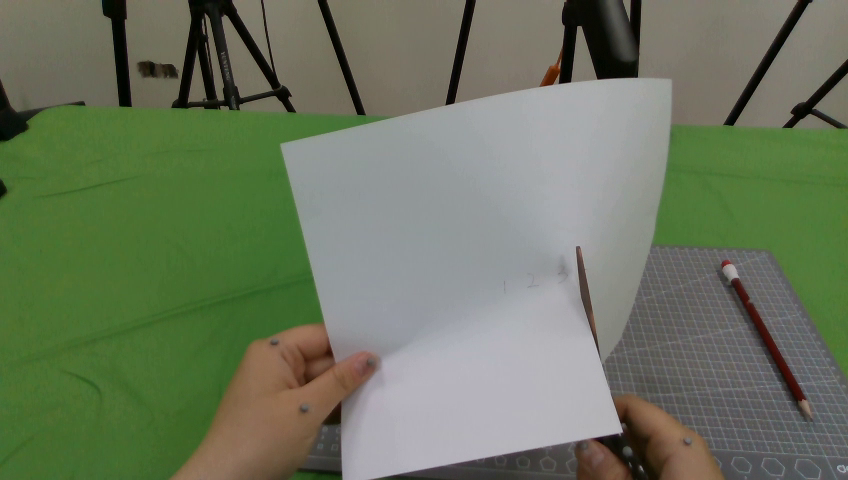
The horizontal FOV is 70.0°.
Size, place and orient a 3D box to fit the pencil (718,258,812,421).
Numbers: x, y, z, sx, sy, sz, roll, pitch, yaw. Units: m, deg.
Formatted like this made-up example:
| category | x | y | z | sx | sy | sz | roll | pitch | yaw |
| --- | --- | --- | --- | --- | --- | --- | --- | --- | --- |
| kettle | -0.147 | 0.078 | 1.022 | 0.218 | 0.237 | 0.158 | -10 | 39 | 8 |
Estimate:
| category | x | y | z | sx | sy | sz | roll | pitch | yaw |
| --- | --- | --- | --- | --- | --- | --- | --- | --- | --- |
| pencil | 0.303 | 0.081 | 0.545 | 0.012 | 0.012 | 0.192 | 1 | 39 | 1 |

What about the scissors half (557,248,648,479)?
| category | x | y | z | sx | sy | sz | roll | pitch | yaw |
| --- | --- | --- | --- | --- | --- | --- | --- | --- | --- |
| scissors half | 0.101 | 0.085 | 0.345 | 0.013 | 0.040 | 0.174 | -12 | 69 | -4 |

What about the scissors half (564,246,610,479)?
| category | x | y | z | sx | sy | sz | roll | pitch | yaw |
| --- | --- | --- | --- | --- | --- | --- | --- | --- | --- |
| scissors half | 0.100 | 0.089 | 0.367 | 0.013 | 0.175 | 0.040 | -11 | 7 | -9 |
